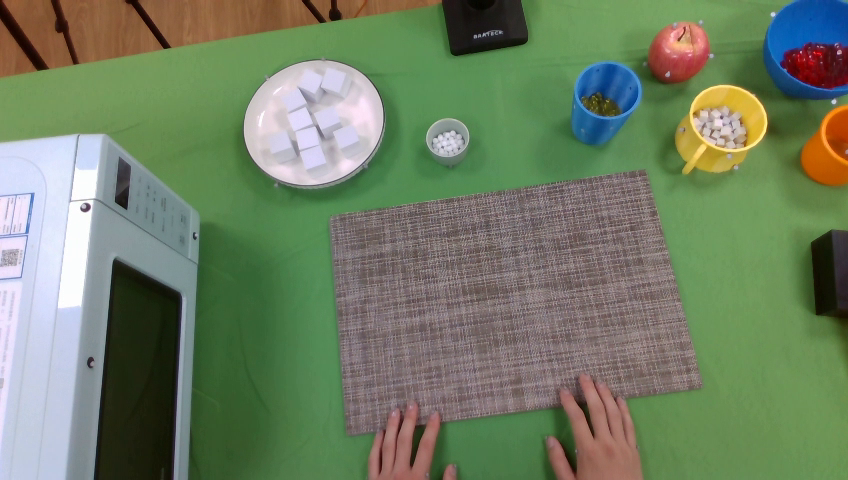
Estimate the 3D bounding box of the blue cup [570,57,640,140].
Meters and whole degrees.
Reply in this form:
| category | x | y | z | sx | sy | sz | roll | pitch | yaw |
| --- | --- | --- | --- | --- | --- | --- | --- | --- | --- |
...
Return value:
| category | x | y | z | sx | sy | sz | roll | pitch | yaw |
| --- | --- | --- | --- | --- | --- | --- | --- | --- | --- |
| blue cup | 0.239 | -0.185 | 0.827 | 0.092 | 0.101 | 0.092 | -1 | 74 | 4 |

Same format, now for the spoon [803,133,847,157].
| category | x | y | z | sx | sy | sz | roll | pitch | yaw |
| --- | --- | --- | --- | --- | --- | --- | --- | --- | --- |
| spoon | 0.572 | -0.113 | 0.752 | 0.041 | 0.192 | 0.022 | -49 | 119 | -10 |

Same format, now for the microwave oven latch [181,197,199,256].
| category | x | y | z | sx | sy | sz | roll | pitch | yaw |
| --- | --- | --- | --- | --- | --- | --- | --- | --- | --- |
| microwave oven latch | -0.329 | -0.018 | 0.835 | 0.030 | 0.030 | 0.078 | -3 | 73 | 3 |

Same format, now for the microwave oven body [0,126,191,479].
| category | x | y | z | sx | sy | sz | roll | pitch | yaw |
| --- | --- | --- | --- | --- | --- | --- | --- | --- | --- |
| microwave oven body | -0.472 | 0.134 | 0.697 | 0.326 | 0.262 | 0.439 | -5 | 73 | 3 |

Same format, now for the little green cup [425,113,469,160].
| category | x | y | z | sx | sy | sz | roll | pitch | yaw |
| --- | --- | --- | --- | --- | --- | --- | --- | --- | --- |
| little green cup | 0.034 | -0.145 | 0.865 | 0.061 | 0.039 | 0.061 | -1 | 72 | 5 |

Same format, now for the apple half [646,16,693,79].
| category | x | y | z | sx | sy | sz | roll | pitch | yaw |
| --- | --- | --- | --- | --- | --- | --- | --- | --- | --- |
| apple half | 0.344 | -0.270 | 0.860 | 0.053 | 0.075 | 0.080 | -4 | 75 | 7 |

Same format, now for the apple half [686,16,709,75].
| category | x | y | z | sx | sy | sz | roll | pitch | yaw |
| --- | --- | --- | --- | --- | --- | --- | --- | --- | --- |
| apple half | 0.383 | -0.273 | 0.856 | 0.033 | 0.082 | 0.081 | -3 | 72 | 7 |

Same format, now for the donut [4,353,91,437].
| category | x | y | z | sx | sy | sz | roll | pitch | yaw |
| --- | --- | --- | --- | --- | --- | --- | --- | --- | --- |
| donut | -0.449 | 0.185 | 0.724 | 0.099 | 0.048 | 0.098 | 0 | 82 | 2 |

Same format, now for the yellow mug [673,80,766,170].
| category | x | y | z | sx | sy | sz | roll | pitch | yaw |
| --- | --- | --- | --- | --- | --- | --- | --- | --- | --- |
| yellow mug | 0.390 | -0.146 | 0.821 | 0.099 | 0.064 | 0.130 | 39 | 81 | 15 |

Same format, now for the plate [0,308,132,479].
| category | x | y | z | sx | sy | sz | roll | pitch | yaw |
| --- | --- | --- | --- | --- | --- | --- | --- | --- | --- |
| plate | -0.453 | 0.187 | 0.733 | 0.209 | 0.038 | 0.208 | -1 | 73 | 4 |

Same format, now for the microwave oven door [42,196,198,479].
| category | x | y | z | sx | sy | sz | roll | pitch | yaw |
| --- | --- | --- | --- | --- | --- | --- | --- | --- | --- |
| microwave oven door | -0.324 | 0.159 | 0.672 | 0.039 | 0.245 | 0.353 | -6 | 72 | 3 |

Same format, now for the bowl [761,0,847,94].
| category | x | y | z | sx | sy | sz | roll | pitch | yaw |
| --- | --- | --- | --- | --- | --- | --- | --- | --- | --- |
| bowl | 0.535 | -0.258 | 0.838 | 0.151 | 0.077 | 0.150 | -1 | 73 | 5 |

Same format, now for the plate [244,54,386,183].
| category | x | y | z | sx | sy | sz | roll | pitch | yaw |
| --- | --- | --- | --- | --- | --- | --- | --- | --- | --- |
| plate | -0.156 | -0.175 | 0.889 | 0.207 | 0.039 | 0.206 | -1 | 72 | 4 |
